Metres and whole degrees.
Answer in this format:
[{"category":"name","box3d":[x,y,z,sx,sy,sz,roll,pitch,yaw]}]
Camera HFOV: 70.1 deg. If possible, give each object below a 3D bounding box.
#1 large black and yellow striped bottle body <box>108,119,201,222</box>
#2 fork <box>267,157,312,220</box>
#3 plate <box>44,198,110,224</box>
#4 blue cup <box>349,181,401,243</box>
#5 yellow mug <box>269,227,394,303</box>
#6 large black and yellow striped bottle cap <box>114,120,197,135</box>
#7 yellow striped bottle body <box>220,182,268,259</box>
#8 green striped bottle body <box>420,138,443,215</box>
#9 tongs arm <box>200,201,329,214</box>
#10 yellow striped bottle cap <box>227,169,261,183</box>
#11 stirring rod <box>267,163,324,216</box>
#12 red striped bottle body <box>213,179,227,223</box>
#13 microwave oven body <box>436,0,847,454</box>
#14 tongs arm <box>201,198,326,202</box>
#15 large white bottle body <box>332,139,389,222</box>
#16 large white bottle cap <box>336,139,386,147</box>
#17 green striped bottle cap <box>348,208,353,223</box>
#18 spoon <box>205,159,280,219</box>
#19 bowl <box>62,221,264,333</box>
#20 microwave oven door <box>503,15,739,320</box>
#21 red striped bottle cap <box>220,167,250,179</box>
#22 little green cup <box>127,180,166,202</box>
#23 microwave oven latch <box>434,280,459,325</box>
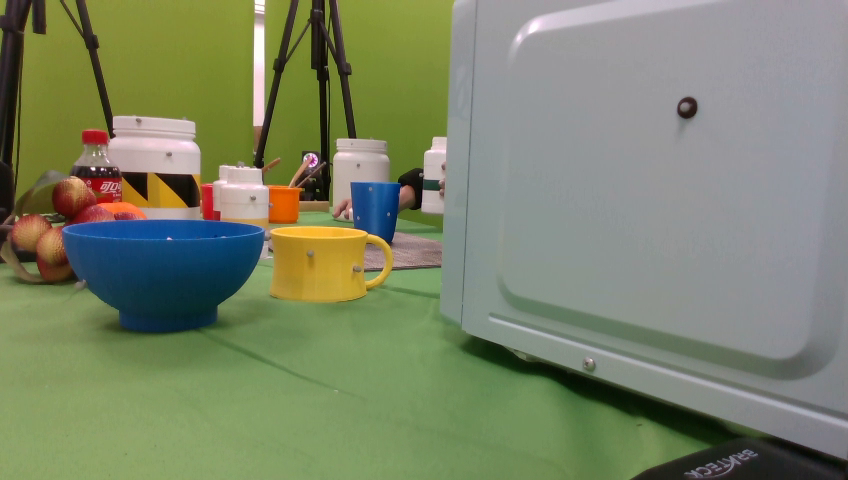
[{"category":"large black and yellow striped bottle body","box3d":[-0.412,-0.088,0.930,0.131,0.184,0.130,3,7,0]},{"category":"fork","box3d":[-0.289,-0.116,1.321,0.028,0.019,0.207,6,52,18]},{"category":"plate","box3d":[-0.617,-0.056,1.179,0.209,0.038,0.209,3,7,0]},{"category":"blue cup","box3d":[-0.082,-0.047,1.010,0.093,0.100,0.092,1,6,0]},{"category":"yellow mug","box3d":[-0.094,0.023,0.629,0.131,0.064,0.099,0,7,-22]},{"category":"large black and yellow striped bottle cap","box3d":[-0.407,-0.171,0.920,0.115,0.019,0.115,2,9,0]},{"category":"yellow striped bottle body","box3d":[-0.246,-0.036,0.825,0.063,0.120,0.063,3,8,0]},{"category":"green striped bottle body","box3d":[0.029,-0.099,0.946,0.063,0.119,0.063,4,6,0]},{"category":"tongs arm","box3d":[-0.378,-0.079,1.440,0.387,0.026,0.050,-4,7,-44]},{"category":"yellow striped bottle cap","box3d":[-0.243,-0.087,0.818,0.044,0.018,0.044,3,6,0]},{"category":"stirring rod","box3d":[-0.278,-0.105,1.294,0.176,0.006,0.014,-47,26,-18]},{"category":"red striped bottle body","box3d":[-0.284,-0.048,0.909,0.063,0.119,0.063,3,12,0]},{"category":"microwave oven body","box3d":[0.279,-0.040,0.465,0.444,0.260,0.324,-3,9,-41]},{"category":"tongs arm","box3d":[-0.433,-0.089,1.508,0.390,0.028,0.028,-1,2,-29]},{"category":"large white bottle body","box3d":[-0.145,-0.137,1.387,0.131,0.184,0.130,2,7,0]},{"category":"large white bottle cap","box3d":[-0.143,-0.219,1.375,0.115,0.018,0.115,2,8,0]},{"category":"green striped bottle cap","box3d":[-0.122,-0.046,1.149,0.044,0.020,0.044,5,20,-2]},{"category":"spoon","box3d":[-0.365,-0.103,1.214,0.193,0.021,0.041,-42,4,6]},{"category":"bowl","box3d":[-0.209,0.029,0.496,0.151,0.077,0.151,2,7,0]},{"category":"microwave oven door","box3d":[0.218,-0.065,0.600,0.358,0.243,0.039,-4,10,-41]},{"category":"red striped bottle cap","box3d":[-0.281,-0.100,0.901,0.044,0.017,0.044,-1,5,0]},{"category":"little green cup","box3d":[-0.485,-0.086,1.061,0.061,0.038,0.061,1,7,0]},{"category":"microwave oven latch","box3d":[0.044,0.045,0.470,0.079,0.029,0.030,-2,8,-39]}]
